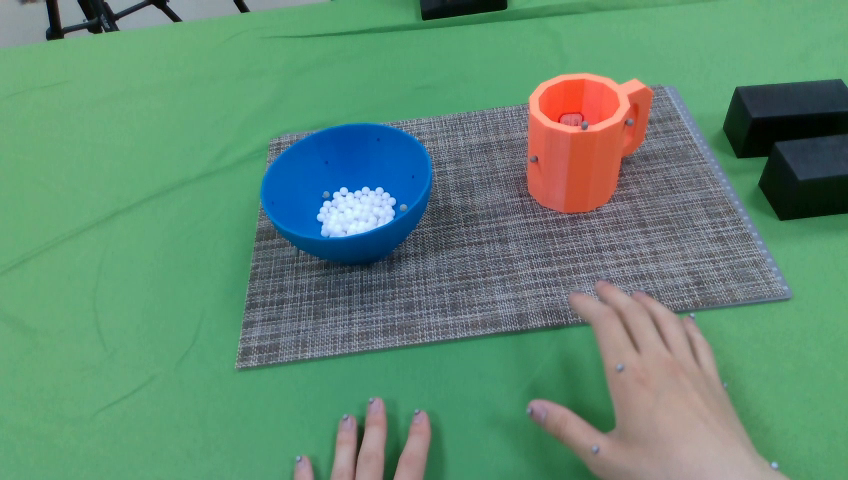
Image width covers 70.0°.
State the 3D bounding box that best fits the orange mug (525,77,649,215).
[{"bbox_3d":[0.153,-0.095,0.566,0.126,0.102,0.082,-28,50,-11],"label":"orange mug"}]

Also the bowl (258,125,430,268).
[{"bbox_3d":[-0.065,-0.027,0.551,0.151,0.077,0.150,-4,48,5],"label":"bowl"}]
